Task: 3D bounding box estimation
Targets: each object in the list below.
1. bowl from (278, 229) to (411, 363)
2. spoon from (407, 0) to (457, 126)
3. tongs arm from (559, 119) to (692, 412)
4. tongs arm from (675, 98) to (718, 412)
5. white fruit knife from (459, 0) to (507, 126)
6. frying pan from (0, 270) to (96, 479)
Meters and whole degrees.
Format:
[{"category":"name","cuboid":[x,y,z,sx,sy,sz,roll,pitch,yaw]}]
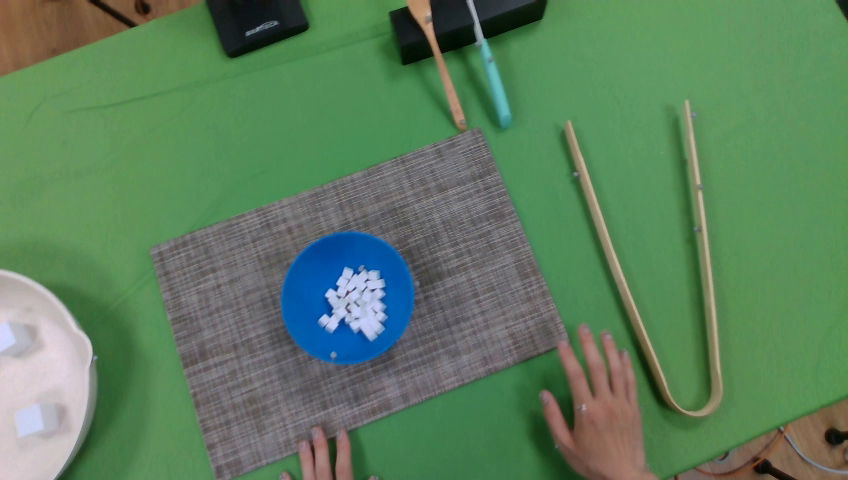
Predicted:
[{"category":"bowl","cuboid":[-0.088,0.069,0.711,0.151,0.077,0.150,0,78,1]},{"category":"spoon","cuboid":[0.012,-0.241,0.772,0.041,0.021,0.194,-10,99,21]},{"category":"tongs arm","cuboid":[0.238,0.025,0.745,0.028,0.028,0.385,-17,78,-5]},{"category":"tongs arm","cuboid":[0.318,0.011,0.742,0.051,0.026,0.383,-5,79,1]},{"category":"white fruit knife","cuboid":[0.068,-0.248,0.778,0.016,0.027,0.207,-20,93,-8]},{"category":"frying pan","cuboid":[-0.482,0.269,0.666,0.307,0.103,0.484,-21,70,-3]}]
